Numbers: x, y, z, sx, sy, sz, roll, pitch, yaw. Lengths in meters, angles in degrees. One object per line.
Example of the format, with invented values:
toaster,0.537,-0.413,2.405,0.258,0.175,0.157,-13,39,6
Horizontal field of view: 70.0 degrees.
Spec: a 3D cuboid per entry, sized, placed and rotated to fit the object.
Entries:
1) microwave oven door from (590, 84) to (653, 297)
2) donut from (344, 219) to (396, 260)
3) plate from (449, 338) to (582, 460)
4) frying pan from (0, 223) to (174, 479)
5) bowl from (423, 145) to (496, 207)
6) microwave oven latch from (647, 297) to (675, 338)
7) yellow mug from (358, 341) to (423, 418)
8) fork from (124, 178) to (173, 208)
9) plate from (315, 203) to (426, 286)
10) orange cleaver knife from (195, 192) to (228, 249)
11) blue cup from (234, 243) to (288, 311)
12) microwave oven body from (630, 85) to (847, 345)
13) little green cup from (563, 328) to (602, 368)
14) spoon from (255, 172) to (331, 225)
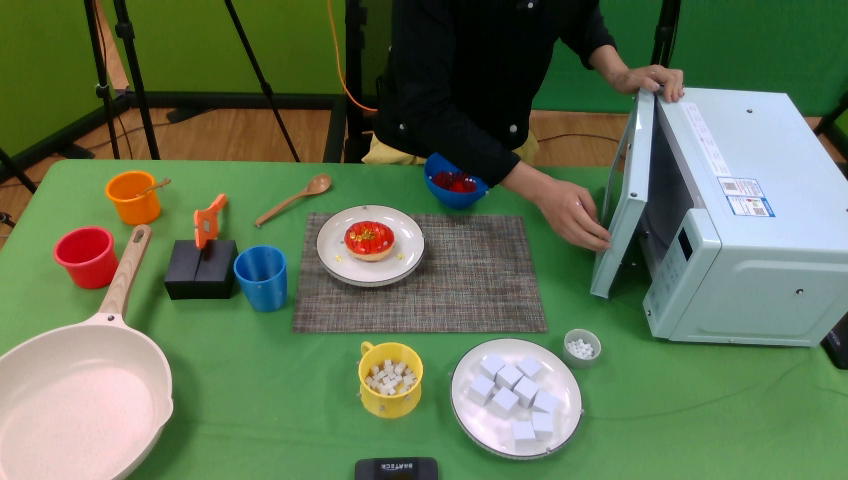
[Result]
microwave oven door,0.378,-0.102,1.141,0.039,0.245,0.354,15,47,9
donut,-0.103,-0.003,1.157,0.099,0.048,0.098,3,43,-3
plate,0.141,0.251,0.955,0.208,0.039,0.206,2,47,-2
frying pan,-0.505,0.169,0.941,0.307,0.103,0.485,5,54,-1
bowl,0.073,-0.123,1.278,0.151,0.077,0.150,2,46,-2
microwave oven latch,0.413,0.133,1.060,0.030,0.029,0.078,5,46,2
yellow mug,-0.063,0.210,0.961,0.100,0.064,0.130,-29,54,-27
fork,-0.525,-0.090,1.154,0.207,0.019,0.028,-17,27,45
plate,-0.101,0.012,1.159,0.209,0.038,0.208,2,46,-2
orange cleaver knife,-0.406,-0.042,1.163,0.012,0.077,0.210,-1,18,-3
blue cup,-0.276,0.072,1.052,0.093,0.101,0.092,1,48,-1
microwave oven body,0.568,-0.054,1.116,0.326,0.261,0.439,2,46,-1
little green cup,0.266,0.185,1.025,0.061,0.039,0.061,3,44,-2
spoon,-0.272,-0.087,1.257,0.041,0.022,0.193,46,57,12
